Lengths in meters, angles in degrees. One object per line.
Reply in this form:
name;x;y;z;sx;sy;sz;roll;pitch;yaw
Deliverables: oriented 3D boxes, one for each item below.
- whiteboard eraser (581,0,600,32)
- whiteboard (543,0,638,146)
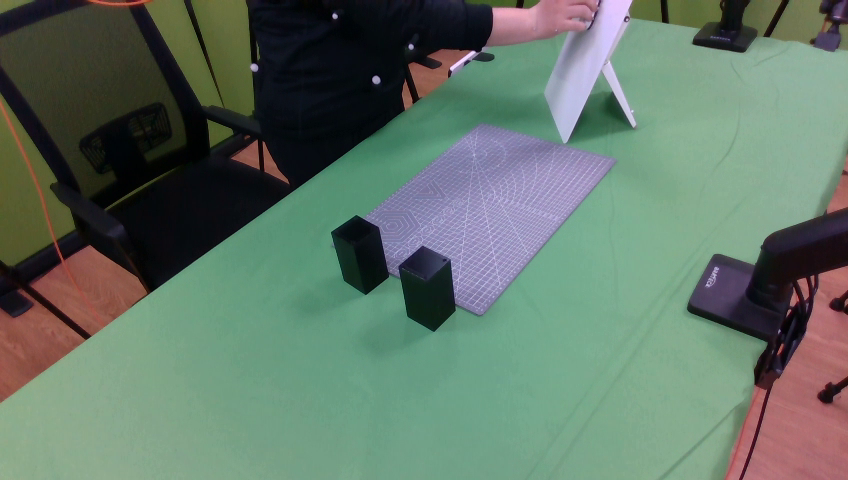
whiteboard eraser;0.313;-0.437;1.119;0.019;0.101;0.041;-3;34;-11
whiteboard;0.365;-0.351;1.160;0.144;0.306;0.216;8;39;-10
